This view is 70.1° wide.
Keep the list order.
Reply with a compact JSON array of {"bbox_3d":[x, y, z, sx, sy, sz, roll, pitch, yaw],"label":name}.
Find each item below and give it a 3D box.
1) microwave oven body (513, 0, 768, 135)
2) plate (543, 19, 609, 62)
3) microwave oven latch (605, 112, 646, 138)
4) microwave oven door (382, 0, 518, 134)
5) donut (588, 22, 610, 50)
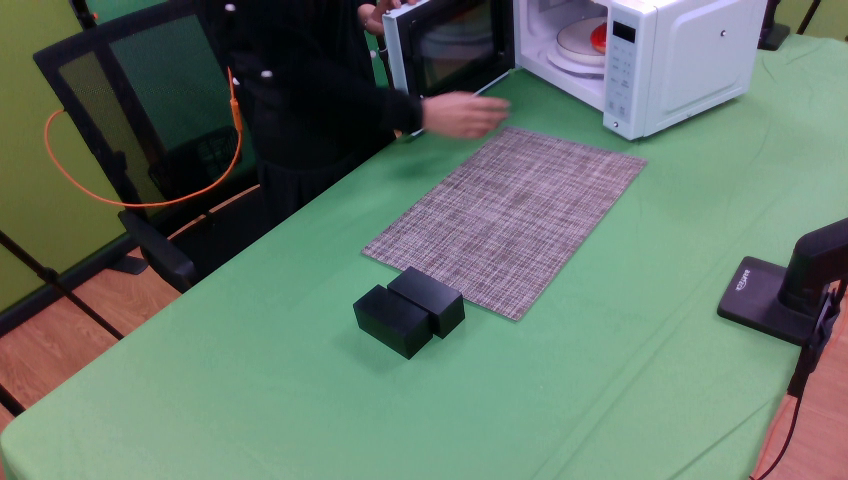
[{"bbox_3d":[0.410,-0.441,1.235,0.327,0.261,0.437,-25,42,-16],"label":"microwave oven body"},{"bbox_3d":[0.359,-0.424,1.294,0.209,0.038,0.208,-2,36,2],"label":"plate"},{"bbox_3d":[0.375,-0.217,1.130,0.030,0.029,0.078,-24,42,-16],"label":"microwave oven latch"},{"bbox_3d":[0.068,-0.408,1.254,0.039,0.245,0.357,27,52,35],"label":"microwave oven door"},{"bbox_3d":[0.400,-0.429,1.293,0.099,0.048,0.098,5,48,-5],"label":"donut"}]
